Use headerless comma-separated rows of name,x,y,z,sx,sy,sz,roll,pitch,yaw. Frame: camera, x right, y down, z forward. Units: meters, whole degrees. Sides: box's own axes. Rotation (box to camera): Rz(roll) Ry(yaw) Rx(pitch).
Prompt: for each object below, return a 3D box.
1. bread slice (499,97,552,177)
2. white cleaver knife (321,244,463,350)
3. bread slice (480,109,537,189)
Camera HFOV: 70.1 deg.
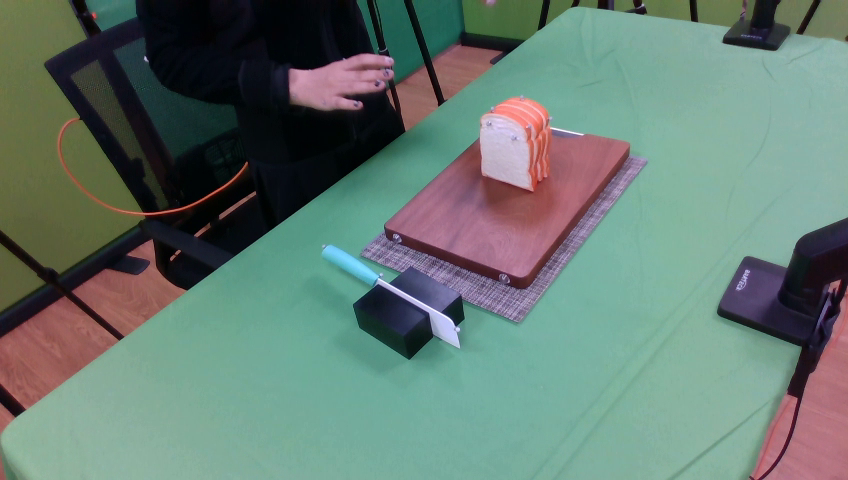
bread slice,0.173,-0.179,1.034,0.104,0.132,0.019,24,46,31
white cleaver knife,-0.056,0.079,0.868,0.284,0.066,0.021,28,47,37
bread slice,0.138,-0.154,1.008,0.106,0.135,0.018,19,49,35
